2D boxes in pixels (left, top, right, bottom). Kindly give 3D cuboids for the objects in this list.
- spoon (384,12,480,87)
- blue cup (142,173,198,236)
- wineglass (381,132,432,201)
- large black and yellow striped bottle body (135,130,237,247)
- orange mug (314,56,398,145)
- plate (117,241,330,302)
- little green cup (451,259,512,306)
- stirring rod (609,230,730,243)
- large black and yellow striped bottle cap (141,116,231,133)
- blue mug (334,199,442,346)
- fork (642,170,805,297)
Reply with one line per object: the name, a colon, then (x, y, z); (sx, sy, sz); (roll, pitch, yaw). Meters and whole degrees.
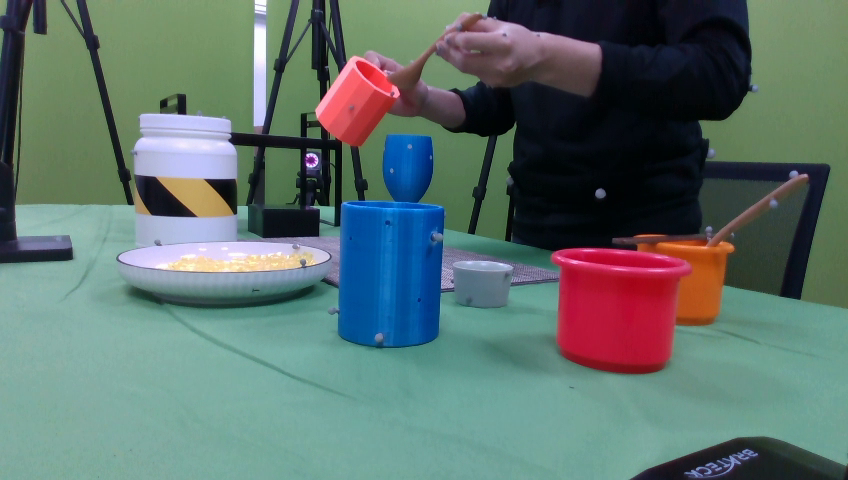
spoon: (0.007, -0.236, 0.757); (0.042, 0.021, 0.193); (13, -22, -30)
blue cup: (-0.425, -0.060, 1.014); (0.093, 0.100, 0.092); (4, 9, 0)
wineglass: (-0.026, -0.062, 0.841); (0.074, 0.172, 0.073); (2, 7, 0)
large black and yellow striped bottle body: (-0.327, -0.074, 0.838); (0.131, 0.184, 0.130); (2, 7, 0)
orange mug: (-0.096, -0.213, 0.902); (0.083, 0.100, 0.126); (37, 31, -10)
plate: (-0.203, 0.031, 0.630); (0.209, 0.038, 0.209); (3, 7, 0)
little green cup: (0.057, 0.043, 0.612); (0.061, 0.038, 0.061); (3, 8, 0)
stirring rod: (0.241, -0.004, 0.582); (0.177, 0.006, 0.014); (-4, 10, -33)
large black and yellow striped bottle cap: (-0.324, -0.157, 0.826); (0.115, 0.019, 0.115); (1, 7, 0)
blue mug: (-0.034, 0.020, 0.498); (0.083, 0.106, 0.116); (0, 7, -19)
fork: (0.261, 0.004, 0.545); (0.028, 0.018, 0.207); (5, -37, -15)
